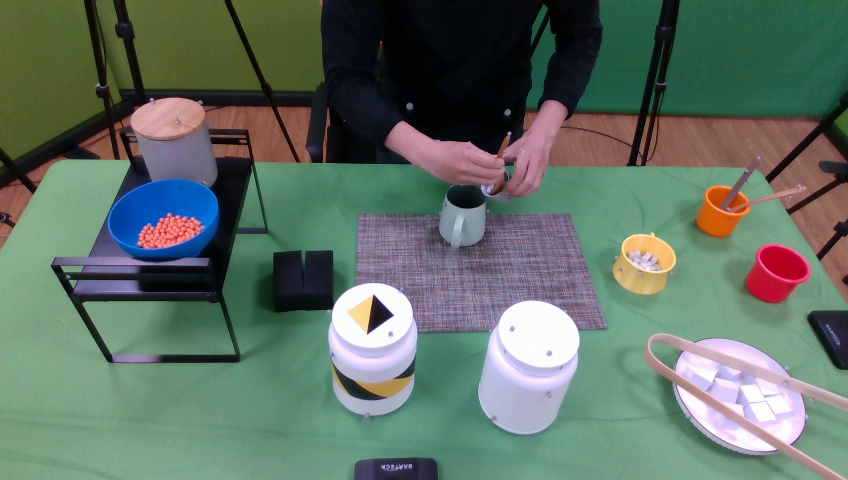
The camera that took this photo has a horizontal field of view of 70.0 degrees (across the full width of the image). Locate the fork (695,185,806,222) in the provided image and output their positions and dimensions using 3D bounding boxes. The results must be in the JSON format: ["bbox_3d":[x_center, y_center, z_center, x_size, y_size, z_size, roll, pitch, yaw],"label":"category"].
[{"bbox_3d":[0.658,-0.074,1.230,0.207,0.019,0.028,-23,36,37],"label":"fork"}]

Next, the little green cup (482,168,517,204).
[{"bbox_3d":[0.144,-0.100,1.137,0.061,0.039,0.061,-25,37,21],"label":"little green cup"}]

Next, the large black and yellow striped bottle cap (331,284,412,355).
[{"bbox_3d":[-0.073,0.111,0.858,0.115,0.019,0.114,2,46,-1],"label":"large black and yellow striped bottle cap"}]

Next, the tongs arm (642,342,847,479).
[{"bbox_3d":[0.504,0.279,0.918,0.386,0.028,0.028,33,59,22],"label":"tongs arm"}]

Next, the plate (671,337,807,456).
[{"bbox_3d":[0.504,0.254,0.984,0.208,0.039,0.206,2,46,-2],"label":"plate"}]

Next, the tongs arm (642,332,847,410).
[{"bbox_3d":[0.546,0.227,0.968,0.384,0.026,0.050,22,52,13],"label":"tongs arm"}]

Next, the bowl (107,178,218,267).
[{"bbox_3d":[-0.374,-0.014,0.893,0.151,0.077,0.150,2,46,-2],"label":"bowl"}]

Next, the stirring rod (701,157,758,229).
[{"bbox_3d":[0.634,-0.097,1.257,0.014,0.006,0.176,38,97,30],"label":"stirring rod"}]

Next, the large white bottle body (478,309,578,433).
[{"bbox_3d":[0.156,0.192,0.913,0.131,0.185,0.130,2,46,-2],"label":"large white bottle body"}]

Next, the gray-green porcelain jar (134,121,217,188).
[{"bbox_3d":[-0.397,-0.141,0.979,0.106,0.127,0.105,2,47,-2],"label":"gray-green porcelain jar"}]

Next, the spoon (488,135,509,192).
[{"bbox_3d":[0.129,-0.131,1.052,0.021,0.194,0.041,34,75,15],"label":"spoon"}]

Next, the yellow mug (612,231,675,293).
[{"bbox_3d":[0.424,0.033,1.168,0.100,0.064,0.130,18,46,13],"label":"yellow mug"}]

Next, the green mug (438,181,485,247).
[{"bbox_3d":[0.071,-0.039,1.177,0.092,0.105,0.124,12,47,7],"label":"green mug"}]

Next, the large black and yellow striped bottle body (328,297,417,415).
[{"bbox_3d":[-0.078,0.167,0.920,0.131,0.185,0.130,2,46,-2],"label":"large black and yellow striped bottle body"}]

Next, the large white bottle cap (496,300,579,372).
[{"bbox_3d":[0.160,0.133,0.852,0.115,0.018,0.114,3,46,-2],"label":"large white bottle cap"}]

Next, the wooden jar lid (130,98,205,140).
[{"bbox_3d":[-0.393,-0.183,0.934,0.108,0.021,0.107,2,44,-2],"label":"wooden jar lid"}]
